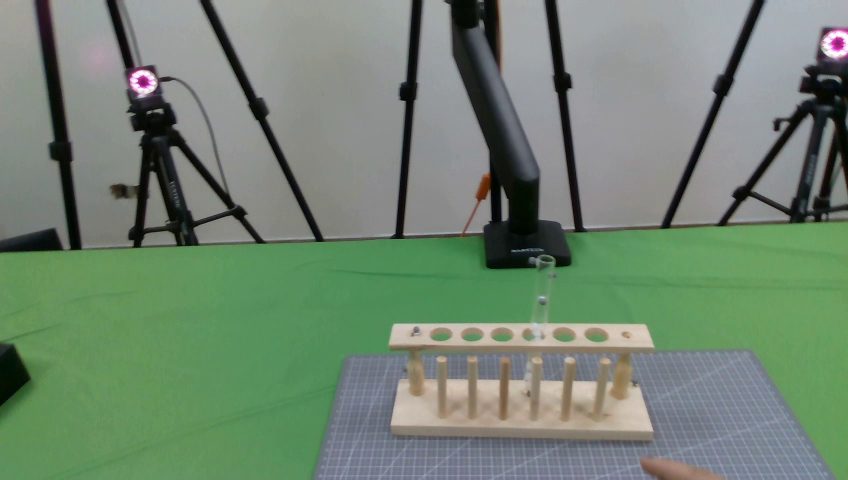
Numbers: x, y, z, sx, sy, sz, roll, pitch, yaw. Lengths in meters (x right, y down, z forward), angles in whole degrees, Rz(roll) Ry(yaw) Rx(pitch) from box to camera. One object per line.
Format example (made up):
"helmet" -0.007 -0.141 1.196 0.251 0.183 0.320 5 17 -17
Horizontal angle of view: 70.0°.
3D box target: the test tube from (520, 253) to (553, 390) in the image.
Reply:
"test tube" 0.104 0.081 0.568 0.017 0.151 0.017 1 27 0

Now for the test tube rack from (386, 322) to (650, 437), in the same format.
"test tube rack" 0.087 0.132 0.579 0.242 0.086 0.066 -1 29 6
